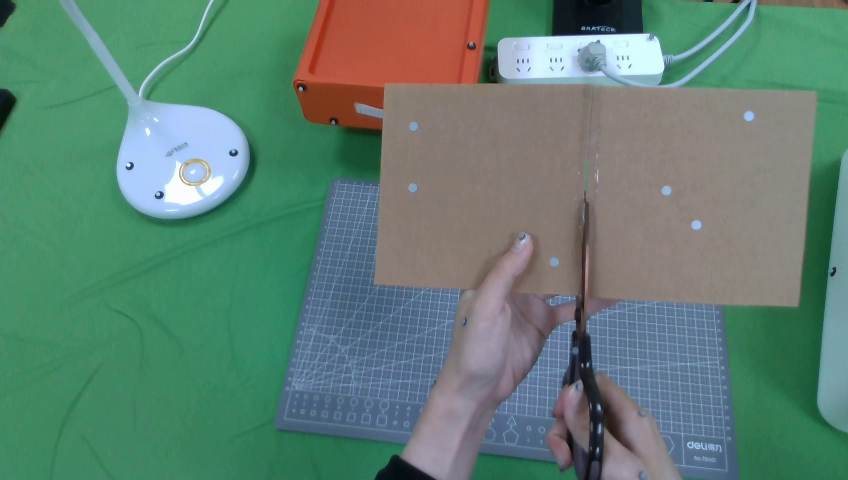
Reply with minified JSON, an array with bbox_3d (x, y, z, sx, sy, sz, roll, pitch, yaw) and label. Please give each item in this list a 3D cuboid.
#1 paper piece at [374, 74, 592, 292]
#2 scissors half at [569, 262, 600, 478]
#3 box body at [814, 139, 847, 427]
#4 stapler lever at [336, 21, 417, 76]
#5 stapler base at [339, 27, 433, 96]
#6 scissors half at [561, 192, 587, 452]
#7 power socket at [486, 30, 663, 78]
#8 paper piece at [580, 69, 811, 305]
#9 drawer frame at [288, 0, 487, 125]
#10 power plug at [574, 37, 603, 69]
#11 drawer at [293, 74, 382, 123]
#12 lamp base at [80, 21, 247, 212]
[{"bbox_3d":[0.035,-0.037,0.393,0.136,0.008,0.138,4,94,12],"label":"paper piece"},{"bbox_3d":[0.098,0.055,0.375,0.013,0.040,0.174,3,71,1],"label":"scissors half"},{"bbox_3d":[0.539,0.028,0.567,0.253,0.161,0.362,18,66,11],"label":"box body"},{"bbox_3d":[-0.058,-0.227,0.708,0.117,0.040,0.027,34,86,22],"label":"stapler lever"},{"bbox_3d":[-0.049,-0.220,0.732,0.129,0.024,0.041,34,86,21],"label":"stapler base"},{"bbox_3d":[0.100,0.056,0.398,0.013,0.040,0.176,2,103,6],"label":"scissors half"},{"bbox_3d":[0.195,-0.235,0.786,0.227,0.033,0.071,0,64,2],"label":"power socket"},{"bbox_3d":[0.165,-0.033,0.377,0.135,0.004,0.136,6,94,5],"label":"paper piece"},{"bbox_3d":[-0.033,-0.241,0.722,0.201,0.083,0.212,6,63,6],"label":"drawer frame"},{"bbox_3d":[0.203,-0.220,0.752,0.035,0.053,0.072,9,65,7],"label":"power plug"},{"bbox_3d":[-0.032,-0.239,0.721,0.194,0.074,0.210,6,63,6],"label":"drawer"},{"bbox_3d":[-0.311,-0.146,0.680,0.178,0.182,0.160,36,70,22],"label":"lamp base"}]
